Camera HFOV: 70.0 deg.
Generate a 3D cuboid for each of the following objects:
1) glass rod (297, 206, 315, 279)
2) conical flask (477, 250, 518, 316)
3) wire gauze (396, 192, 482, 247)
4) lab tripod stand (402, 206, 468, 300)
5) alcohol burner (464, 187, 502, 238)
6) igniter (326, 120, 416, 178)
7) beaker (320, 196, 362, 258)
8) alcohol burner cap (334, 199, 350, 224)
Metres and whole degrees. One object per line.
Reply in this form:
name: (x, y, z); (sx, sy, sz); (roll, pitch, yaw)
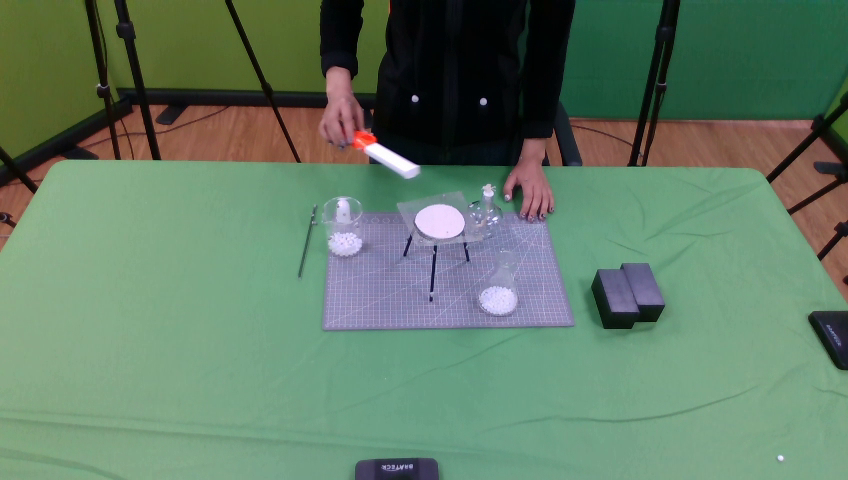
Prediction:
glass rod: (-0.232, 0.000, 1.191); (0.008, 0.008, 0.198); (3, 46, -1)
conical flask: (0.136, 0.072, 1.067); (0.075, 0.122, 0.075); (2, 46, -2)
wire gauze: (0.025, -0.036, 1.061); (0.125, 0.011, 0.120); (-9, 47, -14)
lab tripod stand: (0.023, 0.013, 1.108); (0.148, 0.132, 0.147); (3, 44, -2)
alcohol burner: (0.120, -0.061, 1.201); (0.078, 0.119, 0.077); (3, 47, -3)
igniter: (-0.111, -0.180, 1.164); (0.057, 0.025, 0.275); (-26, 42, -30)
beaker: (-0.156, -0.020, 1.150); (0.084, 0.101, 0.073); (-30, 55, -28)
alcohol burner cap: (-0.167, -0.061, 1.228); (0.034, 0.048, 0.033); (2, 46, -2)
